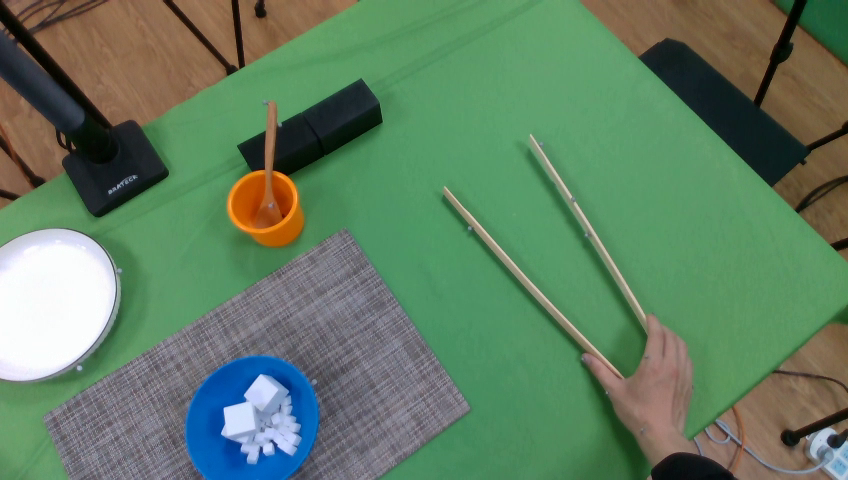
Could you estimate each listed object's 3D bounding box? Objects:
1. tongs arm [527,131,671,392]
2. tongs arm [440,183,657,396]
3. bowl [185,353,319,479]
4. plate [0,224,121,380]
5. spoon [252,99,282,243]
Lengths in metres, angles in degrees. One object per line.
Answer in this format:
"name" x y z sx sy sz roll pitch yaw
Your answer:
"tongs arm" 0.218 0.019 0.806 0.051 0.027 0.382 -27 73 -7
"tongs arm" 0.150 0.060 0.797 0.028 0.028 0.385 -39 74 -14
"bowl" -0.193 0.215 0.716 0.151 0.077 0.150 0 70 1
"plate" -0.499 0.082 0.798 0.207 0.039 0.206 0 70 1
"spoon" -0.205 -0.087 0.795 0.041 0.195 0.021 13 26 10
